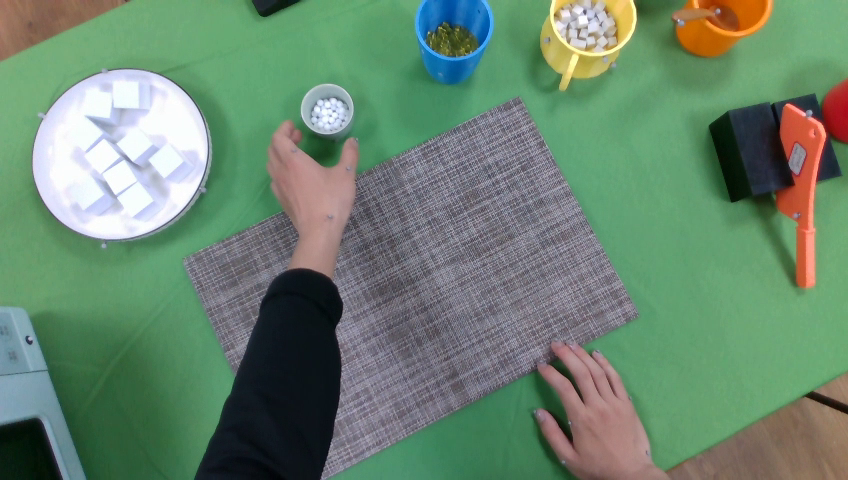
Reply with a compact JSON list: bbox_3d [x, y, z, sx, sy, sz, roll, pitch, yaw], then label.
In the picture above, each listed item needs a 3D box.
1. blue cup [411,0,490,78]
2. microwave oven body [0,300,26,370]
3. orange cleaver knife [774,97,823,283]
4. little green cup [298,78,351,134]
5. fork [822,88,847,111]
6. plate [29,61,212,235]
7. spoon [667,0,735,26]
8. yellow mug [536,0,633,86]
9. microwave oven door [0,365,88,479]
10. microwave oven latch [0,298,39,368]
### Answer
[{"bbox_3d":[0.028,-0.233,0.699,0.093,0.100,0.092,0,84,-1],"label":"blue cup"},{"bbox_3d":[-0.522,0.311,0.552,0.326,0.260,0.440,-24,84,-3],"label":"microwave oven body"},{"bbox_3d":[0.419,-0.054,0.686,0.012,0.076,0.213,-12,113,1],"label":"orange cleaver knife"},{"bbox_3d":[-0.116,-0.156,0.721,0.061,0.039,0.061,0,82,1],"label":"little green cup"},{"bbox_3d":[0.561,-0.171,0.668,0.206,0.019,0.028,-4,79,42],"label":"fork"},{"bbox_3d":[-0.351,-0.106,0.716,0.208,0.039,0.207,0,83,0],"label":"plate"},{"bbox_3d":[0.311,-0.258,0.677,0.021,0.194,0.041,-35,80,41],"label":"spoon"},{"bbox_3d":[0.182,-0.244,0.717,0.100,0.064,0.130,21,85,2],"label":"yellow mug"},{"bbox_3d":[-0.371,0.291,0.549,0.039,0.244,0.354,-24,83,-3],"label":"microwave oven door"},{"bbox_3d":[-0.458,0.104,0.673,0.030,0.029,0.079,-20,84,-3],"label":"microwave oven latch"}]
